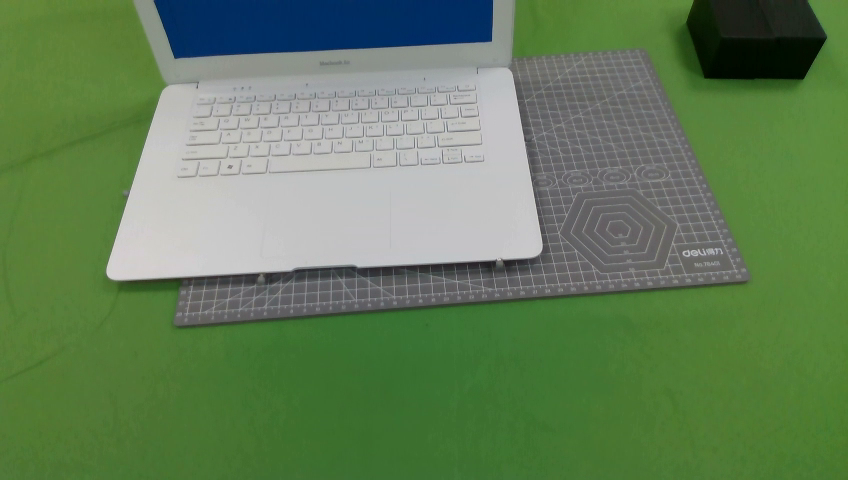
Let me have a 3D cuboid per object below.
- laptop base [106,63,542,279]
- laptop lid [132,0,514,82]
[{"bbox_3d":[-0.084,-0.070,0.552,0.354,0.023,0.233,-3,57,0],"label":"laptop base"},{"bbox_3d":[-0.094,-0.250,0.536,0.357,0.244,0.013,-4,45,1],"label":"laptop lid"}]
